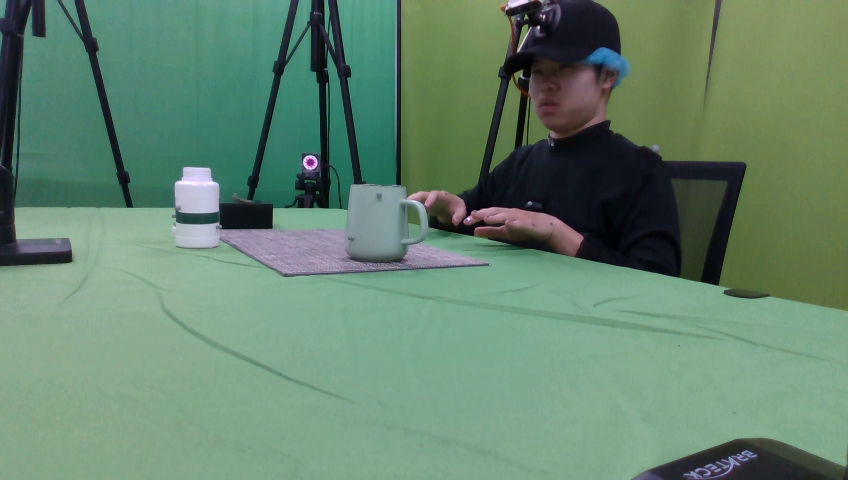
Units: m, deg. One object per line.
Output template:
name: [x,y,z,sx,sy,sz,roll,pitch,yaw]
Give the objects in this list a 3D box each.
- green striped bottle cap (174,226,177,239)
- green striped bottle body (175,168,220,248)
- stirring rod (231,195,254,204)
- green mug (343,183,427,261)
green striped bottle cap: [-0.405,-0.015,1.036,0.044,0.020,0.044,-1,9,0]
green striped bottle body: [-0.345,-0.050,0.924,0.063,0.119,0.063,2,7,0]
stirring rod: [-0.372,-0.084,1.235,0.014,0.006,0.175,-1,8,-28]
green mug: [-0.053,-0.026,0.847,0.125,0.105,0.093,6,8,27]
